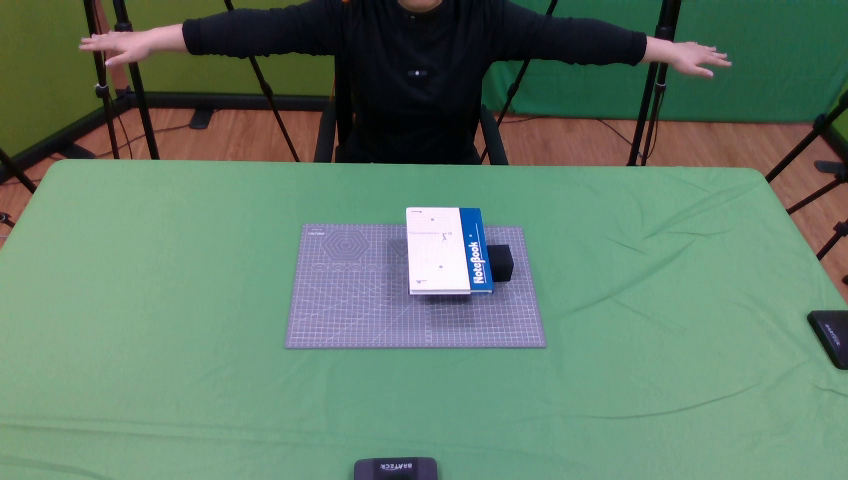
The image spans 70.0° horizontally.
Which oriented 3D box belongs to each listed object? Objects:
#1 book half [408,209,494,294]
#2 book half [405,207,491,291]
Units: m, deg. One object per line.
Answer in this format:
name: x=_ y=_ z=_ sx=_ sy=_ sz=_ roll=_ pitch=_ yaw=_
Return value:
book half: x=0.042 y=0.016 z=1.119 sx=0.149 sy=0.016 sz=0.209 roll=1 pitch=46 yaw=-5
book half: x=0.039 y=0.011 z=1.113 sx=0.143 sy=0.007 sz=0.208 roll=0 pitch=46 yaw=-5
